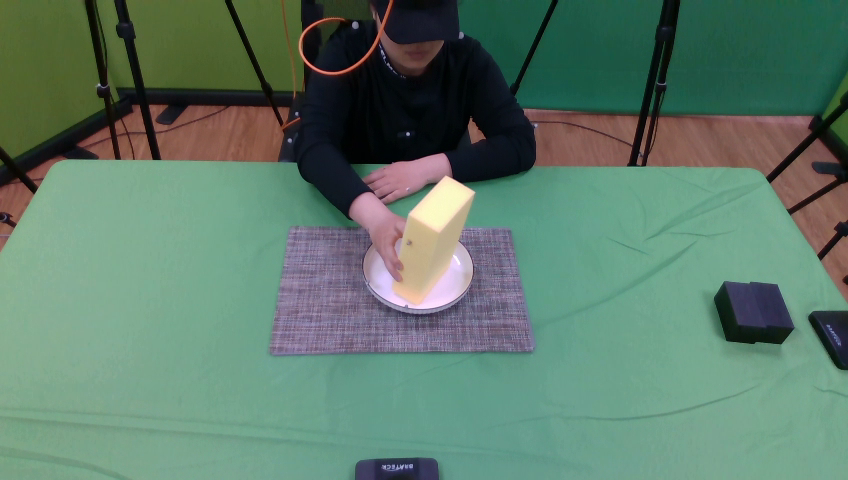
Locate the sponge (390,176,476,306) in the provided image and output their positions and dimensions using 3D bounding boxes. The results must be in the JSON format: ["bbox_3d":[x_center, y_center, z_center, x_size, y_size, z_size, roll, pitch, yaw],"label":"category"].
[{"bbox_3d":[0.013,0.006,1.045,0.061,0.207,0.118,32,50,13],"label":"sponge"}]

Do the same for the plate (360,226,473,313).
[{"bbox_3d":[-0.014,0.057,1.126,0.208,0.039,0.206,2,46,-2],"label":"plate"}]
